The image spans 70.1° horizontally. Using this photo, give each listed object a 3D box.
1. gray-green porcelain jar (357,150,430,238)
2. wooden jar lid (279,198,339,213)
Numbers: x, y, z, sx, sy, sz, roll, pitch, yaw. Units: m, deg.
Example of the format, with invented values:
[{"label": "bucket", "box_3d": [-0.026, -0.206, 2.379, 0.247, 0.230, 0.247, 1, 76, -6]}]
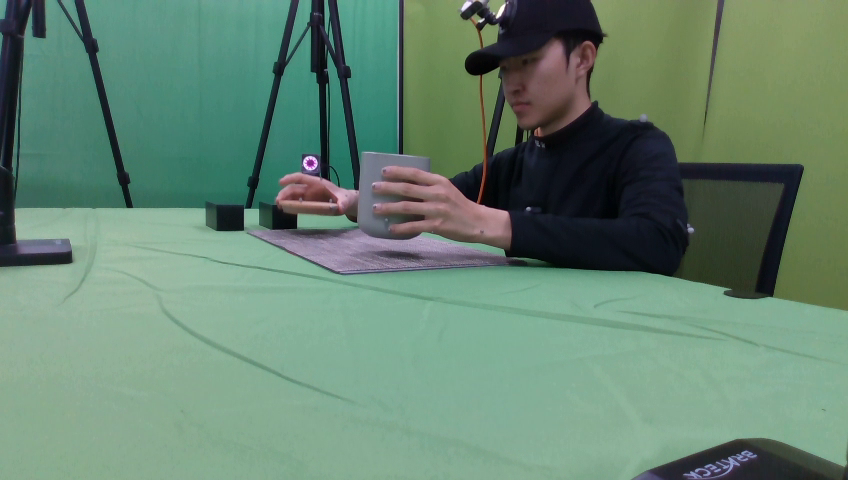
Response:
[{"label": "gray-green porcelain jar", "box_3d": [-0.047, -0.070, 0.921, 0.106, 0.126, 0.106, 4, 8, 0]}, {"label": "wooden jar lid", "box_3d": [-0.212, -0.064, 1.113, 0.108, 0.020, 0.108, 5, 6, 0]}]
